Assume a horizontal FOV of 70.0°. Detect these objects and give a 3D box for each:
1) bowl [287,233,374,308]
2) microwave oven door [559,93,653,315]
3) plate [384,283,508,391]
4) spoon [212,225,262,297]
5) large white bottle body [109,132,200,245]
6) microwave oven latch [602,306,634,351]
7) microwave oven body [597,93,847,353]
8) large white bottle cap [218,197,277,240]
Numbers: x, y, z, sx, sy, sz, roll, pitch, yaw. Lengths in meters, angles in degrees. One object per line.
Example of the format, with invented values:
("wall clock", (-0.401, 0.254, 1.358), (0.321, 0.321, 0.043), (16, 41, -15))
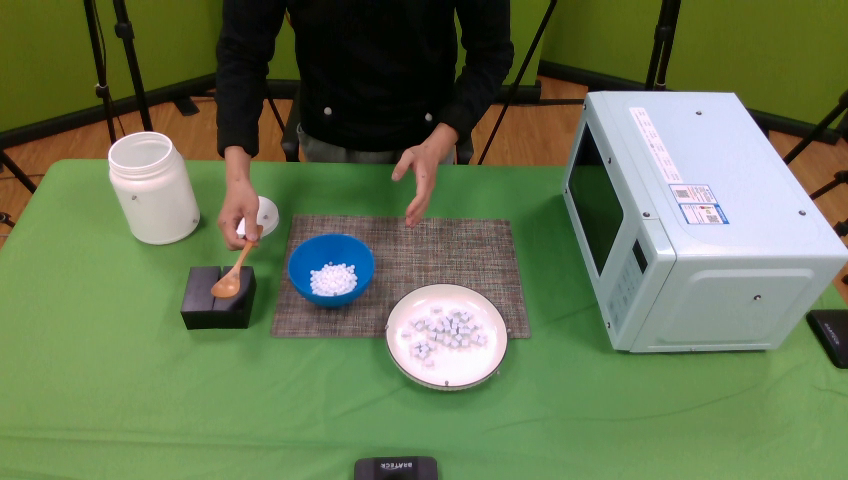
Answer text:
("bowl", (-0.165, 0.068, 1.078), (0.151, 0.077, 0.150), (3, 45, -2))
("microwave oven door", (0.327, -0.074, 1.123), (0.039, 0.245, 0.353), (-1, 46, -5))
("plate", (0.036, 0.165, 1.029), (0.209, 0.038, 0.208), (2, 49, -2))
("spoon", (-0.312, 0.032, 1.038), (0.041, 0.022, 0.192), (5, 42, 7))
("large white bottle body", (-0.506, -0.097, 1.141), (0.131, 0.185, 0.130), (2, 46, -2))
("microwave oven latch", (0.332, 0.153, 1.044), (0.030, 0.029, 0.078), (0, 45, -4))
("microwave oven body", (0.475, -0.041, 1.109), (0.326, 0.261, 0.438), (-1, 45, -4))
("large white bottle cap", (-0.354, -0.045, 1.220), (0.115, 0.018, 0.114), (2, 45, -2))
